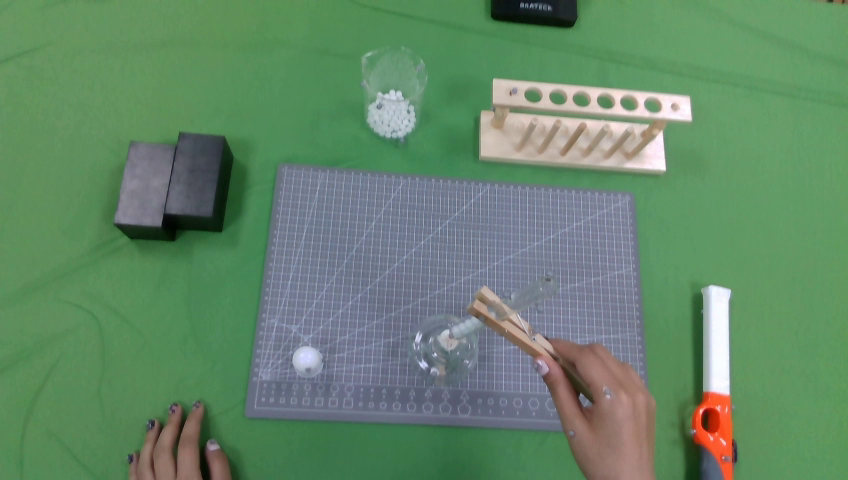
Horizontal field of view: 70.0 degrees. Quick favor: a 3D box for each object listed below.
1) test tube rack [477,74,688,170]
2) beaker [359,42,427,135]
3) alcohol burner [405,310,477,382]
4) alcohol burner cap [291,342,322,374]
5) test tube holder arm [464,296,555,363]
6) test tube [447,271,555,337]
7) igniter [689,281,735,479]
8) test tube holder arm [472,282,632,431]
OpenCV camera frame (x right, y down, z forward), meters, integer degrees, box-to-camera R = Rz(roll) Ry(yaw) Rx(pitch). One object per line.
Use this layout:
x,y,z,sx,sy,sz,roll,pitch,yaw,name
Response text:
0.193,-0.144,0.754,0.243,0.085,0.066,4,72,-5,test tube rack
-0.042,-0.179,0.731,0.084,0.100,0.074,31,71,5,beaker
0.020,0.108,0.637,0.078,0.119,0.077,2,70,-6,alcohol burner
-0.127,0.125,0.652,0.034,0.048,0.033,2,72,-6,alcohol burner cap
0.071,0.075,0.497,0.088,0.015,0.010,34,60,-11,test tube holder arm
0.057,0.056,0.494,0.017,0.150,0.017,10,64,-23,test tube
0.332,0.182,0.698,0.057,0.025,0.275,13,71,-13,igniter
0.109,0.099,0.507,0.179,0.015,0.013,42,59,-7,test tube holder arm
